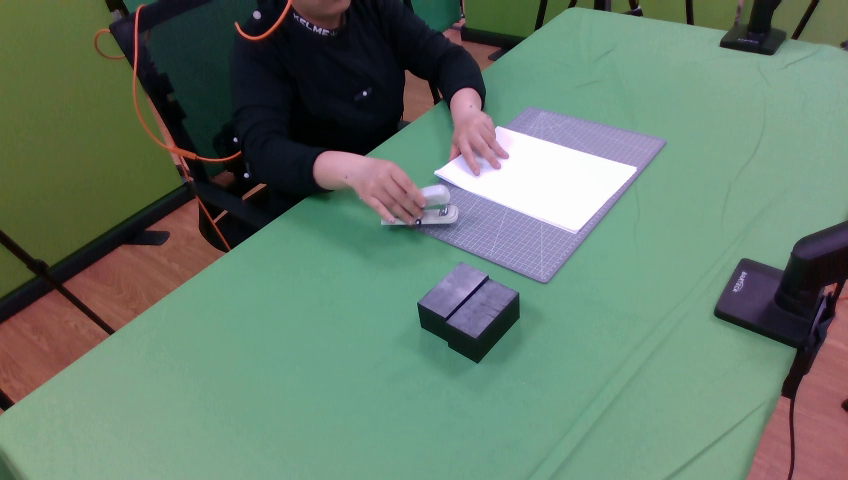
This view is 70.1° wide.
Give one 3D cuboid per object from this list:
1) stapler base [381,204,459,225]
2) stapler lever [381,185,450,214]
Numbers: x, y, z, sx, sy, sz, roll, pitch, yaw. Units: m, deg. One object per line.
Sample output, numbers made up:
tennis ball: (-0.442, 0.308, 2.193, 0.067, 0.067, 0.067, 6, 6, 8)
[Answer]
stapler base: (-0.008, -0.048, 1.005, 0.130, 0.024, 0.041, -2, 40, 14)
stapler lever: (-0.015, -0.066, 0.989, 0.118, 0.040, 0.027, -2, 40, 15)
